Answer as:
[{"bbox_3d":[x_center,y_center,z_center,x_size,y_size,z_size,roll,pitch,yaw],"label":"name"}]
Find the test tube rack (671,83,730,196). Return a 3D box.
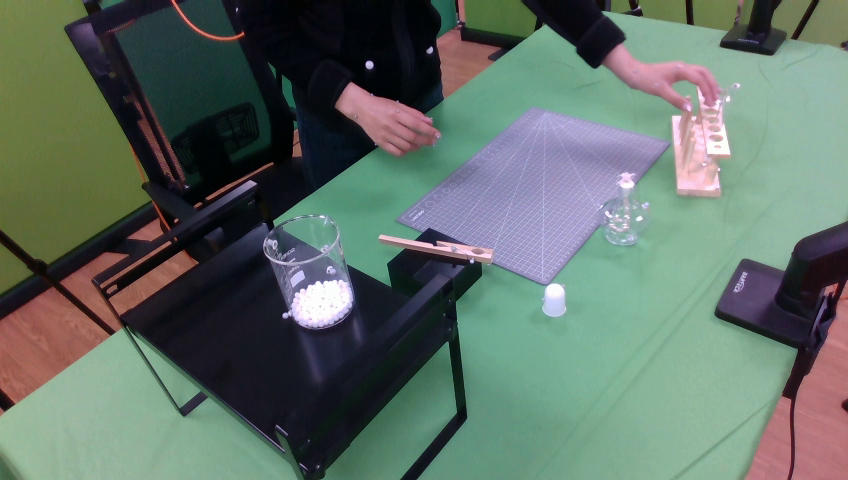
[{"bbox_3d":[0.482,-0.184,1.067,0.066,0.085,0.242,5,42,15],"label":"test tube rack"}]

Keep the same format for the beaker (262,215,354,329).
[{"bbox_3d":[-0.112,0.034,0.616,0.073,0.101,0.084,13,44,22],"label":"beaker"}]

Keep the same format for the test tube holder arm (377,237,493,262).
[{"bbox_3d":[0.014,0.013,0.888,0.177,0.015,0.013,6,45,17],"label":"test tube holder arm"}]

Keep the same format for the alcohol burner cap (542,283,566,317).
[{"bbox_3d":[0.181,0.081,0.839,0.034,0.048,0.033,-4,40,4],"label":"alcohol burner cap"}]

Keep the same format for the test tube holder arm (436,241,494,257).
[{"bbox_3d":[0.058,0.015,0.878,0.087,0.015,0.010,8,45,18],"label":"test tube holder arm"}]

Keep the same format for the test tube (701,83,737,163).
[{"bbox_3d":[0.485,-0.190,0.997,0.017,0.151,0.017,-1,44,2],"label":"test tube"}]

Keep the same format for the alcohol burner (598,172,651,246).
[{"bbox_3d":[0.306,-0.051,0.918,0.078,0.119,0.077,-6,41,5],"label":"alcohol burner"}]
